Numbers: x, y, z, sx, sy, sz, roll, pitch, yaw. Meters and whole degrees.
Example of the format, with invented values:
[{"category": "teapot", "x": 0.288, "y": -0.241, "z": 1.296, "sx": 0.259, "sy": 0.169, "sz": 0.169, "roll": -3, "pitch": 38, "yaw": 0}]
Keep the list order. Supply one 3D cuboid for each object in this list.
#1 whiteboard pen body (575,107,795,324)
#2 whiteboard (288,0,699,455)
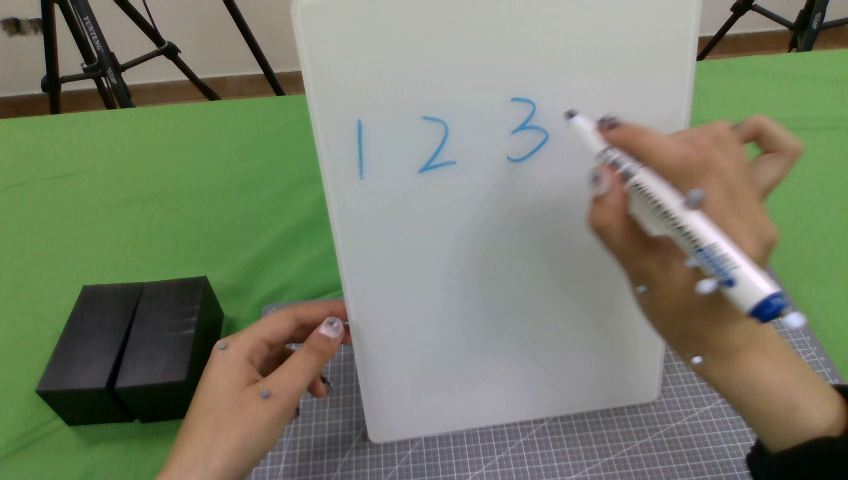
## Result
[{"category": "whiteboard pen body", "x": 0.109, "y": -0.019, "z": 0.274, "sx": 0.017, "sy": 0.017, "sz": 0.139, "roll": -20, "pitch": 54, "yaw": -16}, {"category": "whiteboard", "x": 0.046, "y": -0.026, "z": 0.433, "sx": 0.217, "sy": 0.308, "sz": 0.142, "roll": -7, "pitch": 26, "yaw": -3}]
